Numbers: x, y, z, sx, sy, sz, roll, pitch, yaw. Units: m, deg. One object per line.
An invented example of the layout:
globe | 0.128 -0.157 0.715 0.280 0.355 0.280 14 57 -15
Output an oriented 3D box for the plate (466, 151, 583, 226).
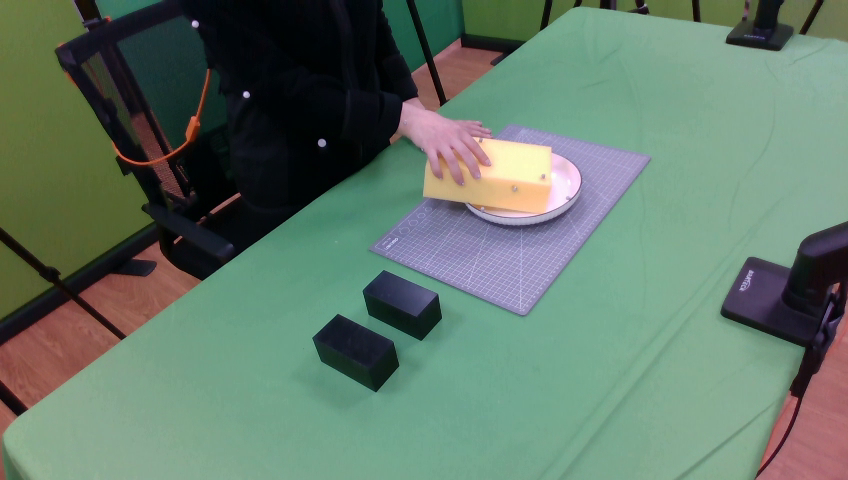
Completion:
plate | 0.167 -0.089 1.043 0.209 0.038 0.208 -5 40 5

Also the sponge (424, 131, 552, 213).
sponge | 0.110 -0.116 1.026 0.207 0.061 0.118 8 43 2
